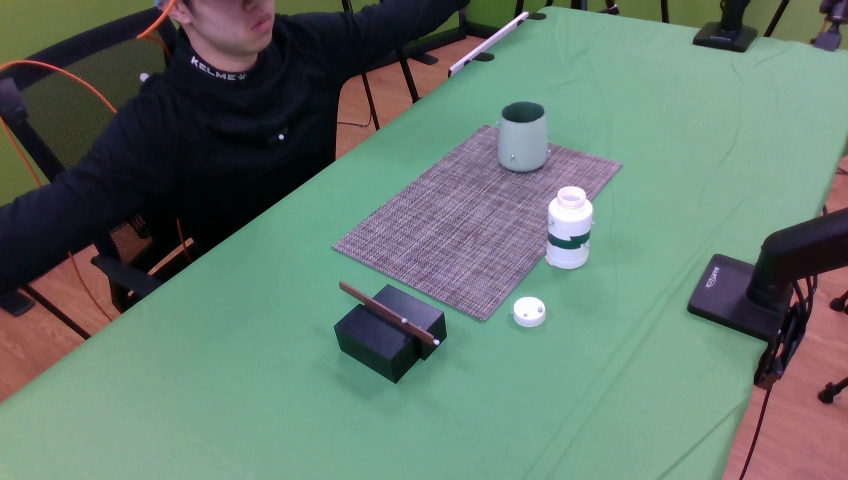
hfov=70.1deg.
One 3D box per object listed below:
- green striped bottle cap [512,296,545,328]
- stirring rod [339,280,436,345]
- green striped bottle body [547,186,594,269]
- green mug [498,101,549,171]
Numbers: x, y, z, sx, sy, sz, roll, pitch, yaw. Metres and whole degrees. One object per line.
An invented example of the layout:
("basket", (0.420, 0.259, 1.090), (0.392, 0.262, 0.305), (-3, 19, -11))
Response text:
("green striped bottle cap", (0.144, 0.099, 0.837), (0.044, 0.020, 0.044), (-2, 45, 2))
("stirring rod", (-0.052, 0.093, 0.796), (0.174, 0.014, 0.006), (27, 47, 33))
("green striped bottle body", (0.214, -0.020, 0.886), (0.063, 0.120, 0.063), (-4, 41, 4))
("green mug", (0.182, -0.197, 1.101), (0.092, 0.105, 0.125), (3, 42, 12))
